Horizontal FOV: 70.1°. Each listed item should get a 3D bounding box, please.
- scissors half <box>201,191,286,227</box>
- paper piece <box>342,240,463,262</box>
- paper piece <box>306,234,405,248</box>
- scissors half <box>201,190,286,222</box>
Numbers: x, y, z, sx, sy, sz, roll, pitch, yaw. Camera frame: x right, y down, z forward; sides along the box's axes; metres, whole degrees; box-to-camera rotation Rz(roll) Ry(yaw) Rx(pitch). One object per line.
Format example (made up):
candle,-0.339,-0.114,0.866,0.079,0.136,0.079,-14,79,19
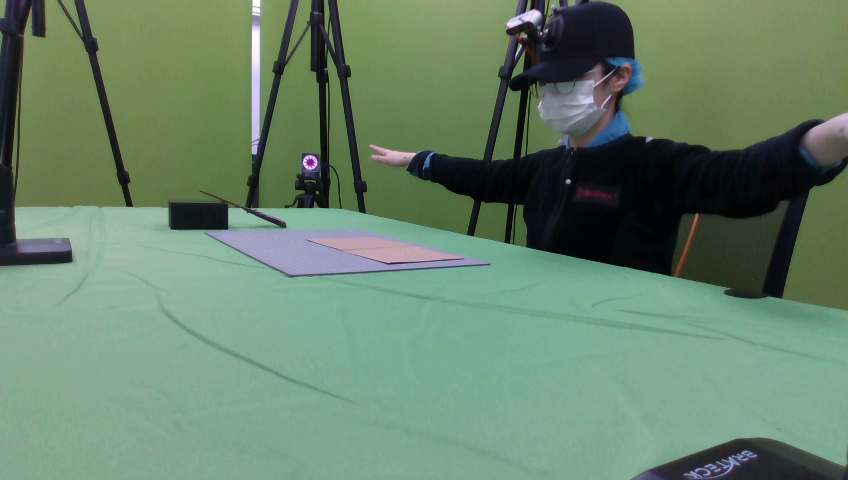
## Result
scissors half,-0.358,-0.064,1.206,0.175,0.013,0.040,22,1,-10
paper piece,-0.033,0.017,0.908,0.137,0.008,0.137,-7,12,-34
paper piece,-0.110,0.000,1.015,0.136,0.004,0.135,-4,9,-35
scissors half,-0.364,-0.068,1.225,0.176,0.013,0.040,22,7,-27
